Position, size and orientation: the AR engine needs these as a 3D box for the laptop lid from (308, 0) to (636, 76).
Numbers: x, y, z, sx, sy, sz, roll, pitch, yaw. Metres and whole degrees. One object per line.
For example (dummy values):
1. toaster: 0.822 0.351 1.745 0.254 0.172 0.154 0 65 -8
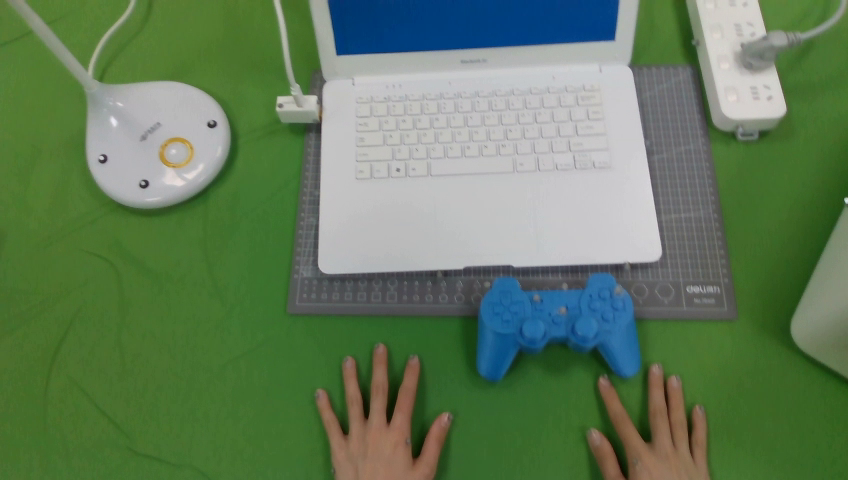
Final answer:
1. laptop lid: 0.049 -0.288 0.627 0.357 0.244 0.013 -4 38 3

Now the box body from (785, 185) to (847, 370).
1. box body: 0.527 -0.012 0.533 0.253 0.161 0.363 32 74 13

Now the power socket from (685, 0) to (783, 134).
1. power socket: 0.349 -0.227 0.691 0.072 0.033 0.225 -1 69 1

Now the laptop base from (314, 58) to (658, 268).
1. laptop base: 0.059 -0.086 0.660 0.354 0.023 0.234 -3 73 2

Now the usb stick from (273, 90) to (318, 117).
1. usb stick: -0.137 -0.153 0.681 0.059 0.027 0.021 2 64 0

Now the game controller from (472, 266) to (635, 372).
1. game controller: 0.123 0.074 0.581 0.155 0.052 0.096 -2 67 2

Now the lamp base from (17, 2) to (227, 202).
1. lamp base: -0.317 -0.149 0.615 0.178 0.181 0.160 26 72 15

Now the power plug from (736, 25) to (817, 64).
1. power plug: 0.378 -0.205 0.657 0.072 0.053 0.035 9 69 5
